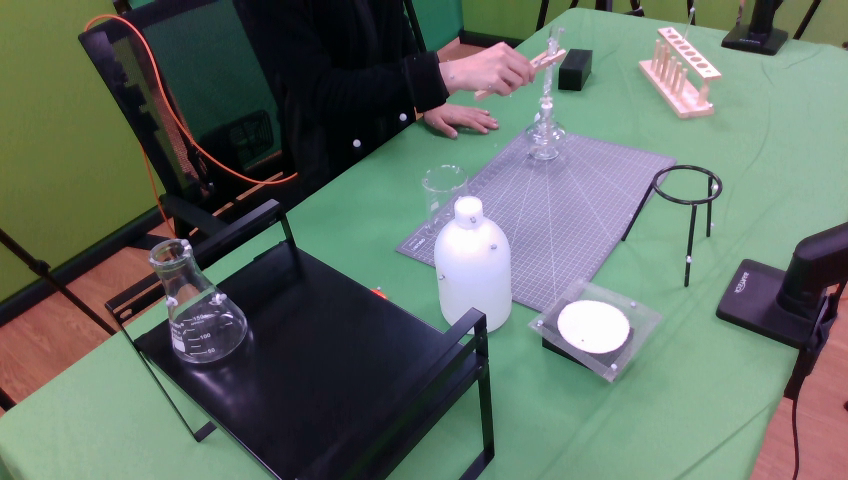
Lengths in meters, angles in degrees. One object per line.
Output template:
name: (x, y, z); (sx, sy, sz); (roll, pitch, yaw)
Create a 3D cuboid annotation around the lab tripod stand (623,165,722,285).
lab tripod stand: (0.365, -0.030, 0.874); (0.148, 0.132, 0.147); (-6, 41, 6)

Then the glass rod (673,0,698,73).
glass rod: (0.537, -0.425, 1.244); (0.008, 0.200, 0.008); (0, 47, 0)

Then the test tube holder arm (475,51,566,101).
test tube holder arm: (0.157, -0.266, 0.976); (0.179, 0.015, 0.013); (-30, 63, -17)

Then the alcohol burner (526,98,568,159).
alcohol burner: (0.228, -0.210, 1.118); (0.078, 0.119, 0.077); (-5, 43, 5)

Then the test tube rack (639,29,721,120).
test tube rack: (0.527, -0.351, 1.262); (0.067, 0.085, 0.241); (-8, 40, 1)

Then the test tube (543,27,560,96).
test tube: (0.212, -0.295, 1.010); (0.017, 0.151, 0.017); (-2, 62, 5)

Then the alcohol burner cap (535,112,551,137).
alcohol burner cap: (0.235, -0.231, 1.197); (0.034, 0.048, 0.033); (-5, 38, 5)

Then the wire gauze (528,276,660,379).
wire gauze: (0.214, 0.103, 0.763); (0.124, 0.011, 0.122); (30, 52, 35)

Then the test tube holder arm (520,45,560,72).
test tube holder arm: (0.190, -0.293, 0.992); (0.088, 0.015, 0.010); (-38, 66, -21)

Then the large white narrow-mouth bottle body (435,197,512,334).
large white narrow-mouth bottle body: (0.066, 0.028, 0.805); (0.102, 0.195, 0.101); (-4, 40, 4)

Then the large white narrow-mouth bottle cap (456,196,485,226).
large white narrow-mouth bottle cap: (0.057, -0.036, 0.749); (0.038, 0.024, 0.037); (-4, 40, 4)

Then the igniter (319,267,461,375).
igniter: (-0.060, 0.108, 0.862); (0.274, 0.025, 0.057); (29, 62, 34)

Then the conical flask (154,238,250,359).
conical flask: (-0.225, 0.055, 0.597); (0.075, 0.122, 0.075); (-5, 41, 5)

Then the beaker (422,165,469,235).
beaker: (0.041, -0.063, 0.986); (0.073, 0.101, 0.084); (20, 47, 29)
